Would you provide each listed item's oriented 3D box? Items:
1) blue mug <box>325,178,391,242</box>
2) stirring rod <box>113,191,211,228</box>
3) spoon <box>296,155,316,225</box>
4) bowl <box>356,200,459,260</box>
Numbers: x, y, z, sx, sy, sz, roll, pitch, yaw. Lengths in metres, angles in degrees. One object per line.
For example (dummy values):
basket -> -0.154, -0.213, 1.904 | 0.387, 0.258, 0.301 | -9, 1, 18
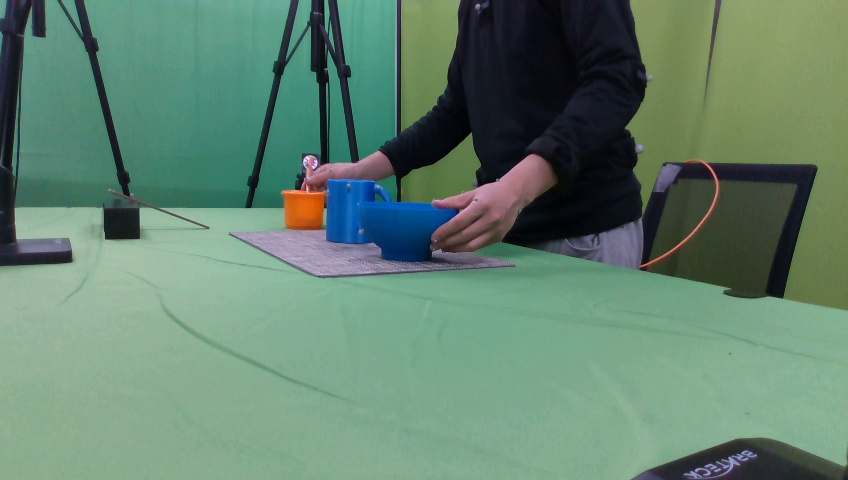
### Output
blue mug -> -0.111, -0.052, 1.034 | 0.116, 0.106, 0.082 | 3, 7, 7
stirring rod -> -0.484, -0.055, 1.121 | 0.177, 0.006, 0.014 | 22, -6, -22
spoon -> -0.244, -0.109, 1.262 | 0.042, 0.021, 0.193 | 8, 47, -17
bowl -> -0.025, -0.015, 0.877 | 0.151, 0.077, 0.151 | 2, 7, 0
